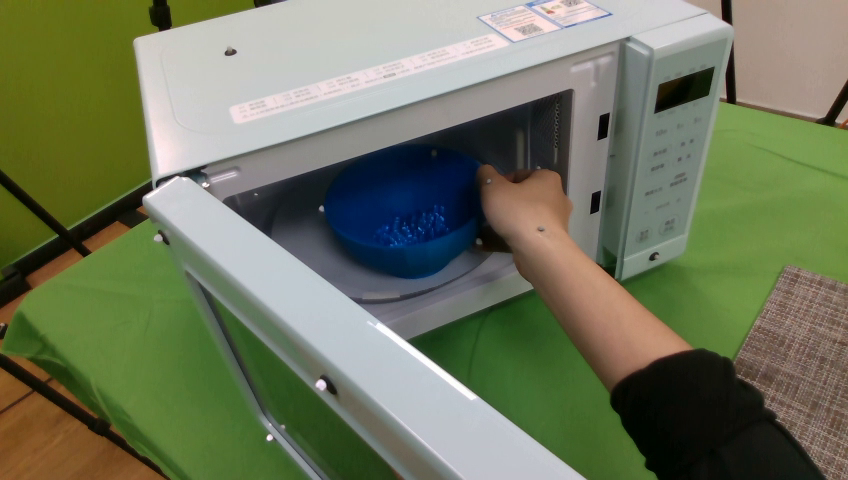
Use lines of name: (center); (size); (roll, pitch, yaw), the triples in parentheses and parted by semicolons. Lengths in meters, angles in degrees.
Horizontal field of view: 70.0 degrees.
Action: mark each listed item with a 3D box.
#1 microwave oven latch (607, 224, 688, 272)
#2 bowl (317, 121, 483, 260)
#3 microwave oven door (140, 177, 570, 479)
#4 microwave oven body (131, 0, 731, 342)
microwave oven latch: (0.223, 0.003, 0.605); (0.079, 0.030, 0.030); (-20, 42, -12)
bowl: (-0.020, -0.033, 0.576); (0.151, 0.077, 0.150); (-1, 54, 2)
microwave oven door: (-0.029, 0.125, 0.347); (0.039, 0.246, 0.352); (-36, 48, -29)
microwave oven body: (-0.009, -0.092, 0.605); (0.442, 0.263, 0.322); (-21, 43, -13)
